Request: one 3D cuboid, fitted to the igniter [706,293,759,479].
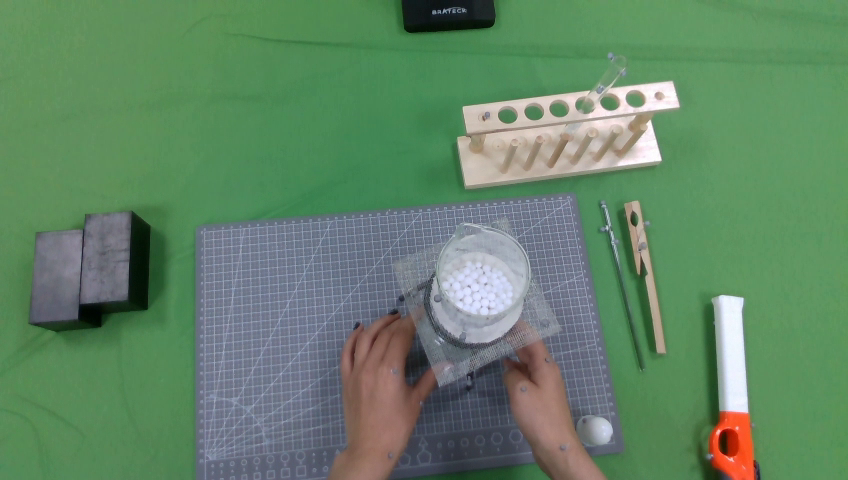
[{"bbox_3d":[0.330,0.194,0.653,0.057,0.025,0.275,8,73,-10],"label":"igniter"}]

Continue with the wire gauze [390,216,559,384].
[{"bbox_3d":[0.045,0.052,0.558,0.121,0.011,0.124,-22,76,-5],"label":"wire gauze"}]

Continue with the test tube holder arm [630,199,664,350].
[{"bbox_3d":[0.256,0.038,0.700,0.013,0.015,0.177,-14,72,28],"label":"test tube holder arm"}]

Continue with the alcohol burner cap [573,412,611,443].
[{"bbox_3d":[0.178,0.196,0.636,0.034,0.048,0.033,0,73,-1],"label":"alcohol burner cap"}]

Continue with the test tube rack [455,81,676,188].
[{"bbox_3d":[0.163,-0.122,0.711,0.242,0.085,0.066,-8,73,-4],"label":"test tube rack"}]

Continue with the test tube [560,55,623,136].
[{"bbox_3d":[0.181,-0.154,0.670,0.017,0.151,0.017,2,71,-7],"label":"test tube"}]

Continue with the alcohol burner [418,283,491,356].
[{"bbox_3d":[0.032,0.079,0.628,0.078,0.120,0.077,0,70,0],"label":"alcohol burner"}]

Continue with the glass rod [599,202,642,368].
[{"bbox_3d":[0.226,0.049,0.702,0.008,0.008,0.198,-6,73,-4],"label":"glass rod"}]

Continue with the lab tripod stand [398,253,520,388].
[{"bbox_3d":[0.038,0.073,0.620,0.148,0.132,0.147,0,74,0],"label":"lab tripod stand"}]

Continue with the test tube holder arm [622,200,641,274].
[{"bbox_3d":[0.247,-0.004,0.715,0.010,0.015,0.087,-14,73,28],"label":"test tube holder arm"}]

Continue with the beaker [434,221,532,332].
[{"bbox_3d":[0.044,0.035,0.512,0.074,0.101,0.083,-20,74,-6],"label":"beaker"}]
